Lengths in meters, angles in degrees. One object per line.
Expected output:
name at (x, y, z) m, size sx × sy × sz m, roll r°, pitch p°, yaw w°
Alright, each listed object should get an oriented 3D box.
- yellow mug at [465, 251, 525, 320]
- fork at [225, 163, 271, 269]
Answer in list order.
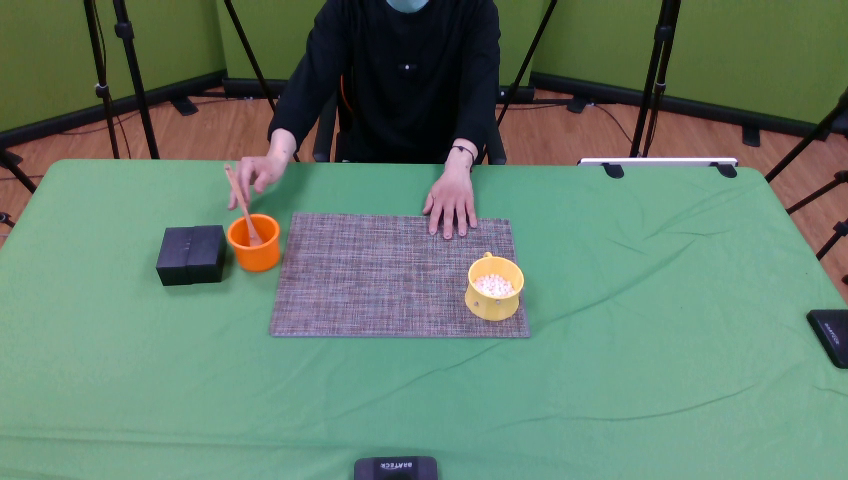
yellow mug at (0.124, 0.074, 1.096) m, size 0.100 × 0.064 × 0.130 m, roll -3°, pitch 46°, yaw -8°
fork at (-0.330, -0.045, 1.128) m, size 0.028 × 0.018 × 0.207 m, roll -20°, pitch 94°, yaw -18°
